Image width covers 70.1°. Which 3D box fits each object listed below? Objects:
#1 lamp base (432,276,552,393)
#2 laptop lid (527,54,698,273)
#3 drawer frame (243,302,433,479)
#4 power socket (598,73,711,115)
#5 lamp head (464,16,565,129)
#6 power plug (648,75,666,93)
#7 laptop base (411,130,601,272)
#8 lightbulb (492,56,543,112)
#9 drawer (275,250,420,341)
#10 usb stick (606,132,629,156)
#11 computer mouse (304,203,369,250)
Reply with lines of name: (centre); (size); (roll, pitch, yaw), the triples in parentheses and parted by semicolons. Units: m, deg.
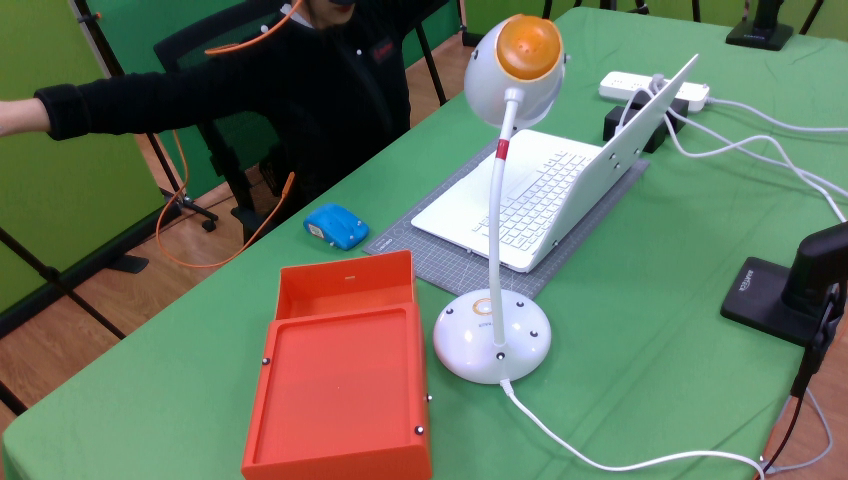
lamp base: (0.085, 0.075, 0.756); (0.161, 0.181, 0.178); (-14, 44, -6)
laptop lid: (0.281, -0.113, 0.896); (0.013, 0.242, 0.358); (38, 55, 17)
drawer frame: (-0.096, 0.185, 0.738); (0.202, 0.083, 0.212); (-8, 40, 1)
power socket: (0.470, -0.304, 1.248); (0.225, 0.033, 0.072); (20, 49, 30)
lamp head: (0.101, -0.184, 0.655); (0.112, 0.112, 0.123); (-9, 1, 0)
power plug: (0.458, -0.301, 1.212); (0.073, 0.053, 0.035); (-37, 47, -28)
laptop base: (0.175, -0.083, 1.054); (0.233, 0.023, 0.355); (22, 49, 36)
lightbulb: (0.108, -0.180, 0.679); (0.059, 0.059, 0.107); (-9, -2, 1)
drawer: (-0.104, 0.118, 0.825); (0.194, 0.073, 0.210); (-8, 40, 1)
usb stick: (0.353, -0.174, 1.109); (0.021, 0.027, 0.059); (22, 49, 35)
computer mouse: (-0.151, -0.026, 1.037); (0.116, 0.041, 0.063); (28, 50, 31)
